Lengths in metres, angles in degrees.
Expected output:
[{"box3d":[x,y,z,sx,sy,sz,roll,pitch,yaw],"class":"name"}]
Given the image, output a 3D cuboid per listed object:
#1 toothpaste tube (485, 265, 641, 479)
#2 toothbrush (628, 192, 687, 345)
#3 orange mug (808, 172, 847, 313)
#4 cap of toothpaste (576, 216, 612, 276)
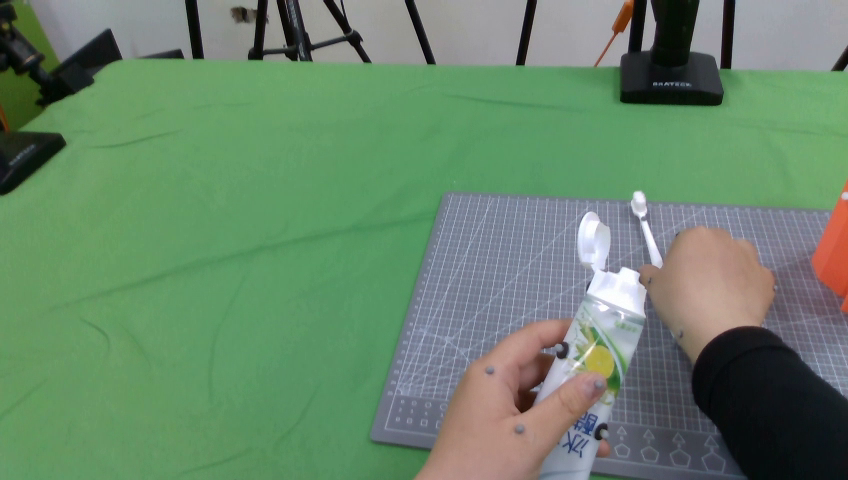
[{"box3d":[0.083,0.091,0.349,0.055,0.035,0.165,22,92,19],"class":"toothpaste tube"},{"box3d":[0.205,0.018,0.536,0.014,0.017,0.180,-4,43,7],"class":"toothbrush"},{"box3d":[0.359,0.000,0.473,0.083,0.102,0.126,26,47,32],"class":"orange mug"},{"box3d":[0.102,0.003,0.360,0.011,0.037,0.037,0,37,40],"class":"cap of toothpaste"}]
